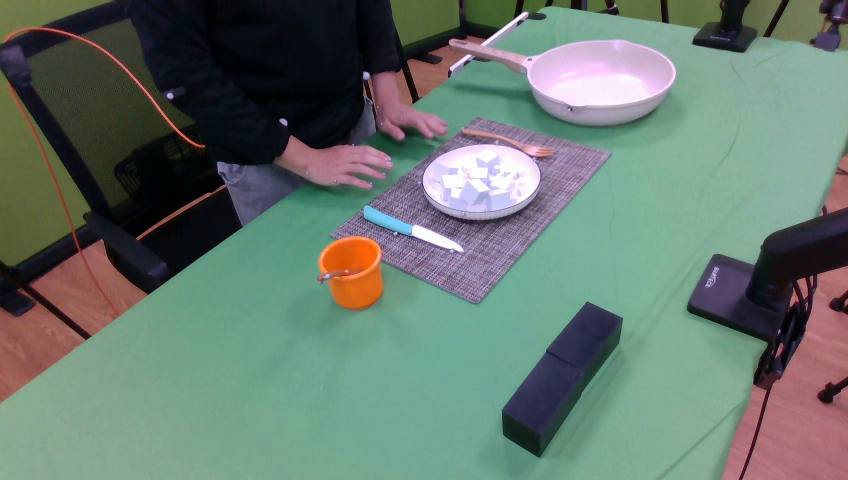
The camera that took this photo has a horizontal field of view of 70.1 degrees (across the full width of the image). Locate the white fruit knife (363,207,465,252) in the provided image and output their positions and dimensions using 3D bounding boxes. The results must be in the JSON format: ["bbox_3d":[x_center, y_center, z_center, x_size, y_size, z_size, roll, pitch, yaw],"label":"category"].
[{"bbox_3d":[-0.022,-0.016,0.990,0.206,0.016,0.027,20,51,28],"label":"white fruit knife"}]

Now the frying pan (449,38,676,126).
[{"bbox_3d":[0.272,-0.363,1.287,0.485,0.103,0.307,23,48,19],"label":"frying pan"}]

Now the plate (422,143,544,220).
[{"bbox_3d":[0.102,-0.097,1.049,0.207,0.039,0.206,-4,40,4],"label":"plate"}]

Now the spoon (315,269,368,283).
[{"bbox_3d":[-0.116,0.049,0.831,0.041,0.194,0.021,-4,85,9],"label":"spoon"}]

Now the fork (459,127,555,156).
[{"bbox_3d":[0.155,-0.192,1.165,0.206,0.019,0.028,22,59,27],"label":"fork"}]
